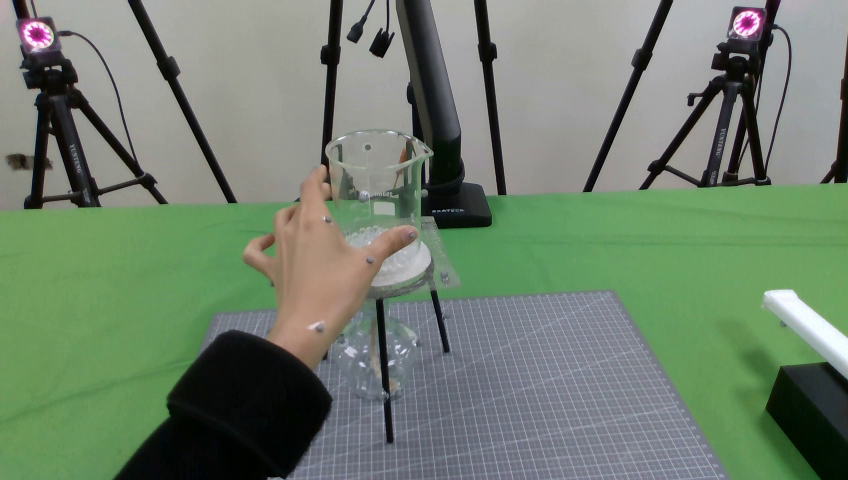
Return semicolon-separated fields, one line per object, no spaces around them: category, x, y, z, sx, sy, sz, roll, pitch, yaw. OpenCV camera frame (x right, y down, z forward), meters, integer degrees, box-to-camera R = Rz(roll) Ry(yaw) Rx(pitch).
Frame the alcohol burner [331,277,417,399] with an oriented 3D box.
alcohol burner;-0.045;0.083;0.542;0.078;0.120;0.077;2;30;-1

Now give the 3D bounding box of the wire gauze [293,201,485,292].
wire gauze;-0.031;0.004;0.497;0.125;0.011;0.120;-12;30;-28

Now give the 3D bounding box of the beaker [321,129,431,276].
beaker;-0.037;-0.029;0.486;0.084;0.101;0.073;-4;34;-7

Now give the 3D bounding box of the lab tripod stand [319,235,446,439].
lab tripod stand;-0.036;0.076;0.535;0.148;0.132;0.147;1;31;-1

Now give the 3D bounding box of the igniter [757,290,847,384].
igniter;0.358;0.118;0.479;0.057;0.025;0.274;-3;27;-5
